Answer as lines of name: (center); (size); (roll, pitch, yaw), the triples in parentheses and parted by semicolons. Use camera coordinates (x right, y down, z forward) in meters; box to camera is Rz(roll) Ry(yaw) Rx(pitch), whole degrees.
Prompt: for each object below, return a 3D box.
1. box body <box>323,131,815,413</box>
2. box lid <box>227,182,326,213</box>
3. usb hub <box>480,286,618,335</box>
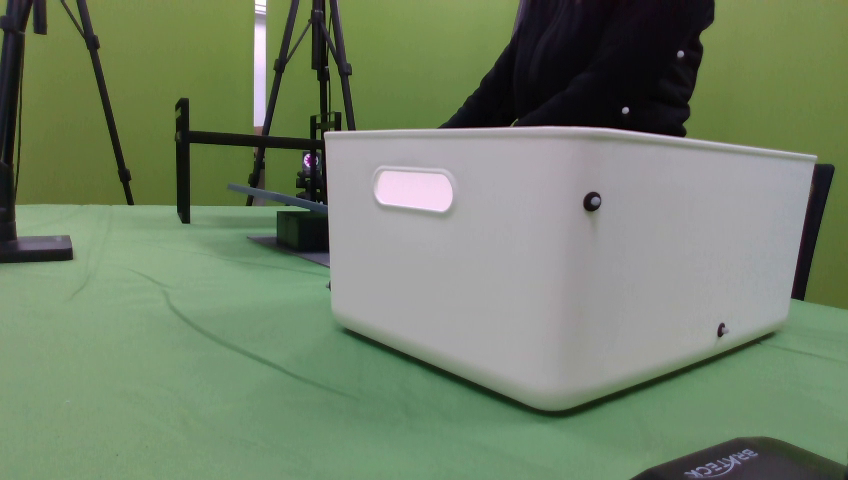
box body: (0.125, 0.000, 0.510); (0.366, 0.160, 0.253); (-4, 9, -40)
box lid: (-0.113, -0.039, 0.998); (0.374, 0.015, 0.262); (13, 1, -35)
usb hub: (0.110, 0.059, 0.526); (0.126, 0.025, 0.049); (-2, 7, -36)
